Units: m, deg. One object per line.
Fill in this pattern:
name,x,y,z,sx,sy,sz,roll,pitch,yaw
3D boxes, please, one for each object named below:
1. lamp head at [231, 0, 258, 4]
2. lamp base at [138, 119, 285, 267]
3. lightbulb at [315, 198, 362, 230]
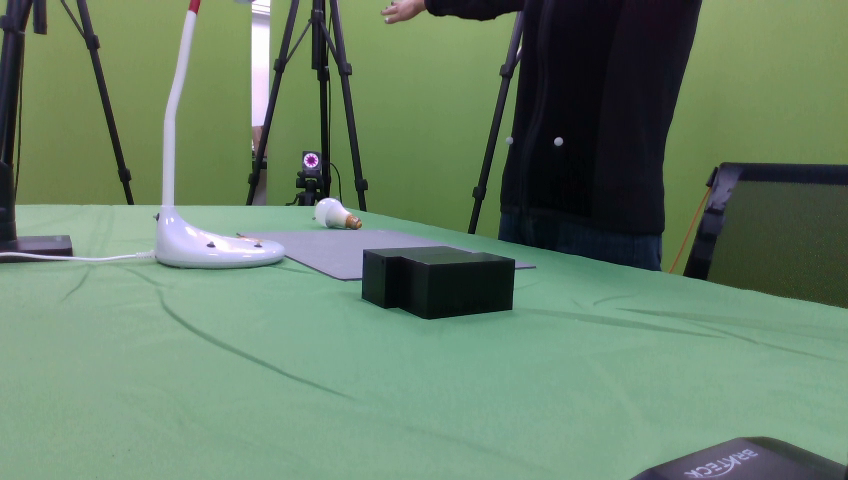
lamp head,-0.257,-0.377,0.773,0.112,0.112,0.123,5,-2,26
lamp base,-0.271,-0.061,0.772,0.180,0.180,0.160,-7,12,-39
lightbulb,-0.171,-0.048,1.220,0.107,0.059,0.060,22,15,22
